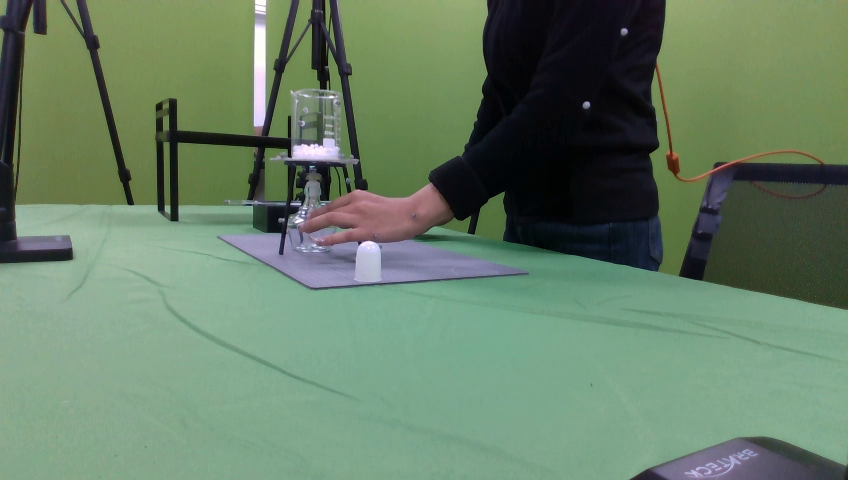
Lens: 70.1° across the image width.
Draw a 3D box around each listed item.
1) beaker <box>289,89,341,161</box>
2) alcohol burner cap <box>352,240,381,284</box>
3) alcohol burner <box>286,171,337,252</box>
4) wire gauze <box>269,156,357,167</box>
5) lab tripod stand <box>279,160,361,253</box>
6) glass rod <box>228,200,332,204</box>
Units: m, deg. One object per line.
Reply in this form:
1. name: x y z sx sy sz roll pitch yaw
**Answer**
1. beaker: -0.161 -0.164 0.879 0.073 0.100 0.084 6 8 34
2. alcohol burner cap: -0.066 0.024 0.690 0.034 0.048 0.034 3 9 0
3. alcohol burner: -0.167 -0.042 0.894 0.078 0.119 0.078 1 5 0
4. wire gauze: -0.159 -0.116 0.886 0.122 0.011 0.125 2 4 -9
5. lab tripod stand: -0.166 -0.052 0.897 0.148 0.131 0.148 0 7 0
6. glass rod: -0.269 -0.071 1.149 0.201 0.008 0.008 -1 8 -30
